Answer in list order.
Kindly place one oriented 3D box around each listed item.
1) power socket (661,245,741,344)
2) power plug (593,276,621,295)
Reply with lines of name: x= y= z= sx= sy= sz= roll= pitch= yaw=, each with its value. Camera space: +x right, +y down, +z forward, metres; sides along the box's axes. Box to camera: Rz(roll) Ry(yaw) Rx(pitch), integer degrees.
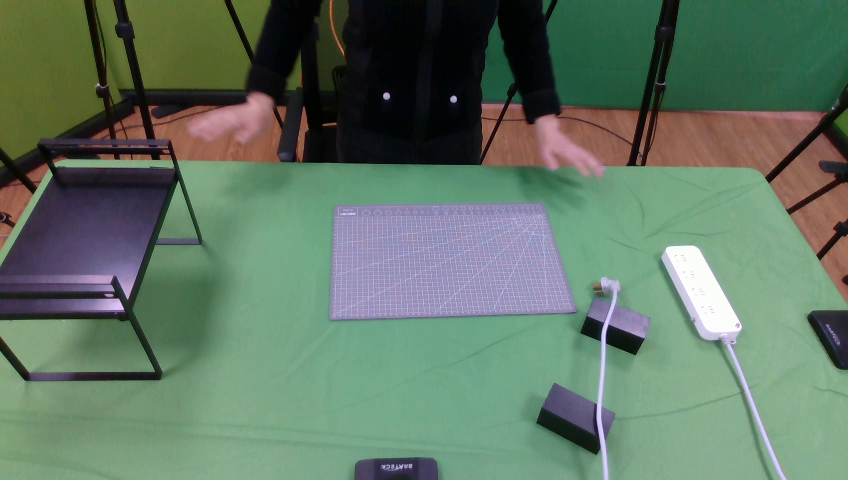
power socket: x=0.515 y=0.094 z=1.138 sx=0.072 sy=0.033 sz=0.225 roll=-3 pitch=47 yaw=-5
power plug: x=0.332 y=0.085 z=1.115 sx=0.073 sy=0.052 sz=0.035 roll=-7 pitch=81 yaw=-59
